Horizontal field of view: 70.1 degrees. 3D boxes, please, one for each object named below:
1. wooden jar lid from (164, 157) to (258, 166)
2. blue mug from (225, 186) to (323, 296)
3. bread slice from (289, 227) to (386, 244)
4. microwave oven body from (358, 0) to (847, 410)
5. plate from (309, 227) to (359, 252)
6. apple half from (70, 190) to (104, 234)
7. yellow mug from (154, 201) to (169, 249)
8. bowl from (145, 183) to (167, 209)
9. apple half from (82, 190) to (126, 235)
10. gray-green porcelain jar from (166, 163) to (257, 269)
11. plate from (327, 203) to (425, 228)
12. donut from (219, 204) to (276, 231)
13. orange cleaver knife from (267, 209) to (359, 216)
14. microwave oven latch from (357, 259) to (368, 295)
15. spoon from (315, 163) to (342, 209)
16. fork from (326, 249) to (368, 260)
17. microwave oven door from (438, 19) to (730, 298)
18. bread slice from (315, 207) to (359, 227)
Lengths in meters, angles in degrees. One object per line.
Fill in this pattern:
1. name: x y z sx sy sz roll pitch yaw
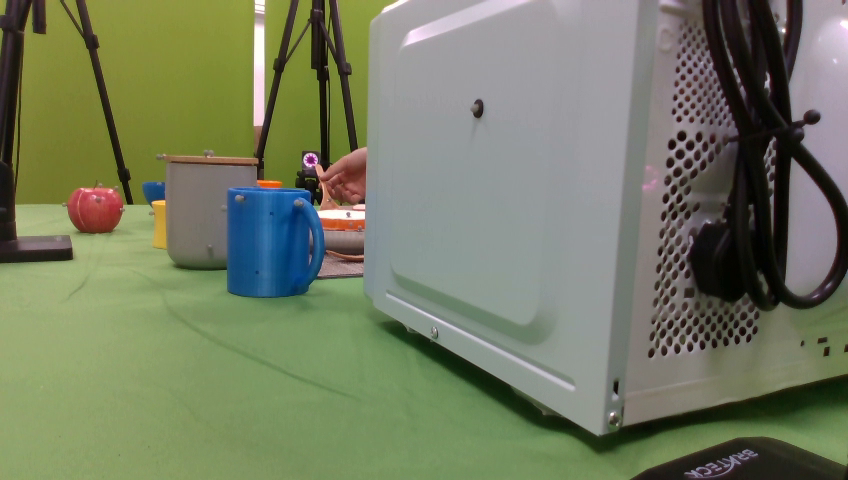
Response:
1. wooden jar lid: -0.261 -0.093 0.746 0.108 0.020 0.108 0 9 0
2. blue mug: -0.148 0.000 0.618 0.116 0.106 0.083 7 9 33
3. bread slice: -0.125 -0.007 0.938 0.131 0.019 0.105 4 7 31
4. microwave oven body: 0.210 -0.051 0.471 0.444 0.260 0.324 -1 7 -28
5. plate: -0.130 -0.011 0.945 0.208 0.039 0.207 2 8 0
6. apple half: -0.552 -0.047 1.009 0.053 0.074 0.081 -1 9 26
7. yellow mug: -0.338 -0.022 0.899 0.130 0.064 0.100 8 9 34
8. bowl: -0.459 -0.068 1.175 0.151 0.077 0.151 3 7 0
9. apple half: -0.517 -0.046 0.994 0.032 0.081 0.081 0 6 26
10. gray-green porcelain jar: -0.263 -0.031 0.754 0.106 0.126 0.106 2 7 0
11. plate: -0.102 -0.053 1.299 0.209 0.038 0.209 2 8 0
12. donut: -0.316 -0.038 1.083 0.099 0.048 0.099 3 7 0
13. orange cleaver knife: -0.259 -0.064 1.423 0.212 0.012 0.077 -4 3 -30
14. microwave oven latch: -0.019 0.031 0.529 0.079 0.029 0.030 -1 7 -26
15. spoon: -0.185 -0.098 1.133 0.042 0.021 0.193 -11 41 -11
16. fork: -0.033 0.015 0.835 0.208 0.018 0.028 -4 4 -23
17. microwave oven door: 0.181 -0.076 0.618 0.358 0.243 0.039 -2 8 -28
18. bread slice: -0.127 -0.035 0.933 0.134 0.018 0.107 4 11 27
